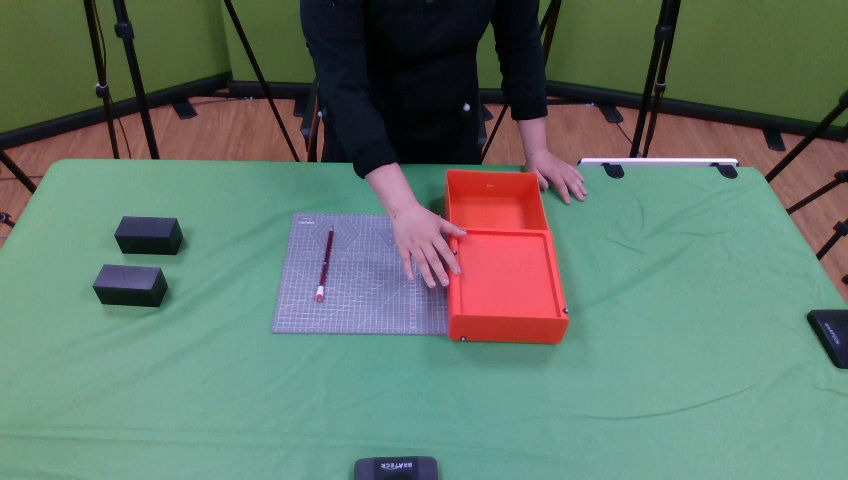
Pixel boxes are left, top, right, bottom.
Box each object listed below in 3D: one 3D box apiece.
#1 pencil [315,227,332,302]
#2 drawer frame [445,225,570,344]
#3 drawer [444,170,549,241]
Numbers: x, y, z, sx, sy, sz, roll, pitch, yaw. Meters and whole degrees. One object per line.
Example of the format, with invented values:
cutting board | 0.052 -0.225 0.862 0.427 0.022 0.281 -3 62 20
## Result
pencil | -0.189 0.041 1.148 0.012 0.012 0.193 3 44 -1
drawer frame | 0.141 0.076 1.089 0.202 0.083 0.212 2 47 -3
drawer | 0.141 -0.049 1.217 0.194 0.073 0.210 2 43 -3
